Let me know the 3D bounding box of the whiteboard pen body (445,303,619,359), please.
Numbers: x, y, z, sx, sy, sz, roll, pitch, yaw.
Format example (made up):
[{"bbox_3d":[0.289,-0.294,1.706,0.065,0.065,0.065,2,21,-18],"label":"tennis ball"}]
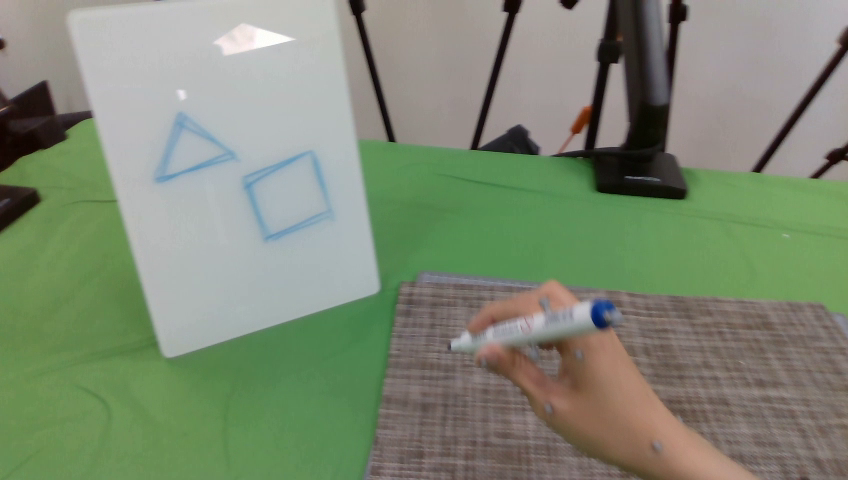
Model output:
[{"bbox_3d":[0.053,0.056,0.350,0.017,0.017,0.140,-31,3,-38],"label":"whiteboard pen body"}]

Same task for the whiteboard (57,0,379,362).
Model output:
[{"bbox_3d":[-0.193,-0.074,0.608,0.218,0.307,0.142,-16,20,-23],"label":"whiteboard"}]
